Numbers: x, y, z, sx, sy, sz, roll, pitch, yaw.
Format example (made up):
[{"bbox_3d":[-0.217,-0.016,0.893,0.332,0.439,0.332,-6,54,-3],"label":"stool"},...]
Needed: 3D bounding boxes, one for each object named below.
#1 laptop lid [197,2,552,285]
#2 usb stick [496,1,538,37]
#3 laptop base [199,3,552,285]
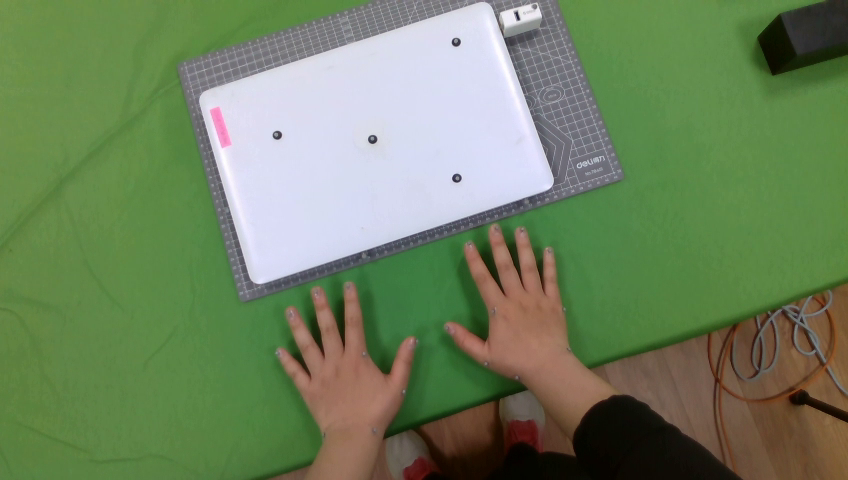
[{"bbox_3d":[-0.059,-0.112,0.677,0.357,0.013,0.241,-17,82,0],"label":"laptop lid"},{"bbox_3d":[0.099,-0.250,0.692,0.059,0.027,0.021,-17,80,2],"label":"usb stick"},{"bbox_3d":[-0.059,-0.112,0.689,0.354,0.023,0.234,-19,83,-1],"label":"laptop base"}]
